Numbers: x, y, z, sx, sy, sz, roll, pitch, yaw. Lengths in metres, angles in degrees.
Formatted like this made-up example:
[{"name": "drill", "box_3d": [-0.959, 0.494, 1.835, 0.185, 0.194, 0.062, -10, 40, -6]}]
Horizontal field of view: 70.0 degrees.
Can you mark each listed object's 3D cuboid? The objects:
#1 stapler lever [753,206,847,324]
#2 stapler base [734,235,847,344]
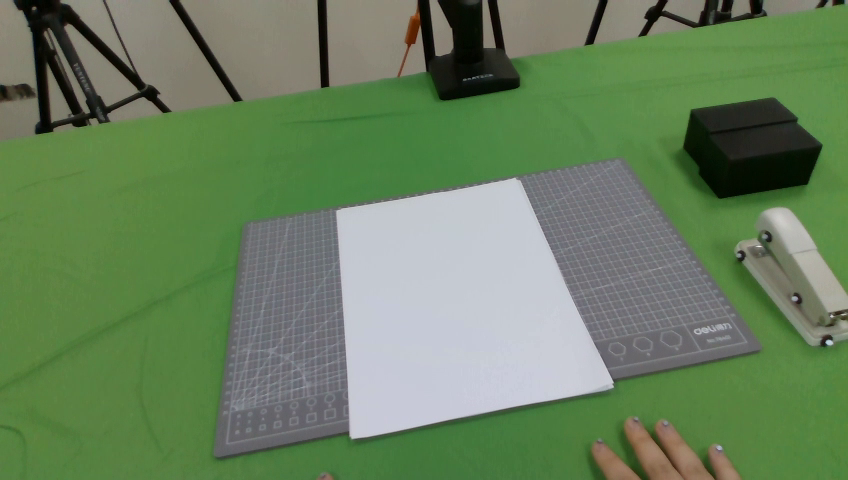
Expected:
[{"name": "stapler lever", "box_3d": [0.326, 0.016, 0.520, 0.027, 0.040, 0.116, -12, 43, -2]}, {"name": "stapler base", "box_3d": [0.327, 0.034, 0.539, 0.041, 0.025, 0.129, -12, 43, -2]}]
